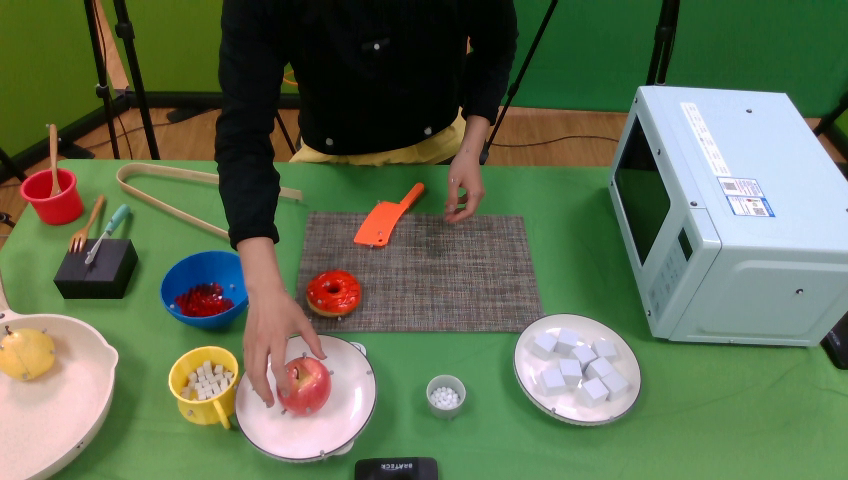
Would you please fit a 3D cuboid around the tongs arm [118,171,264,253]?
[{"bbox_3d":[-0.473,-0.057,1.210,0.386,0.028,0.028,23,55,18],"label":"tongs arm"}]

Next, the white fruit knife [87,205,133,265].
[{"bbox_3d":[-0.584,-0.013,1.129,0.016,0.027,0.206,0,31,-5],"label":"white fruit knife"}]

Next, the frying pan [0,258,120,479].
[{"bbox_3d":[-0.647,0.164,0.936,0.307,0.103,0.485,-19,58,-22],"label":"frying pan"}]

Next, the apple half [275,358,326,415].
[{"bbox_3d":[-0.186,0.221,0.883,0.080,0.075,0.053,38,58,25],"label":"apple half"}]

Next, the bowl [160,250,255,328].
[{"bbox_3d":[-0.362,0.098,1.039,0.151,0.077,0.150,2,45,-2],"label":"bowl"}]

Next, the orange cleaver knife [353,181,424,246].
[{"bbox_3d":[-0.070,-0.059,1.245,0.077,0.012,0.210,18,50,21],"label":"orange cleaver knife"}]

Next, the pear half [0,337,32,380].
[{"bbox_3d":[-0.631,0.184,0.921,0.070,0.088,0.031,29,49,19],"label":"pear half"}]

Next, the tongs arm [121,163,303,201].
[{"bbox_3d":[-0.444,-0.114,1.266,0.384,0.026,0.050,12,49,8],"label":"tongs arm"}]

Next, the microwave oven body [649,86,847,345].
[{"bbox_3d":[0.567,-0.053,1.118,0.326,0.261,0.439,2,45,-1],"label":"microwave oven body"}]

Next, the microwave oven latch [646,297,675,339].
[{"bbox_3d":[0.412,0.134,1.061,0.030,0.029,0.078,4,45,1],"label":"microwave oven latch"}]

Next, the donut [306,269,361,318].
[{"bbox_3d":[-0.159,0.094,1.074,0.099,0.048,0.098,3,46,-3],"label":"donut"}]

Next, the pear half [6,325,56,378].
[{"bbox_3d":[-0.608,0.158,0.935,0.076,0.110,0.056,31,51,20],"label":"pear half"}]

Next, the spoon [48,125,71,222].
[{"bbox_3d":[-0.718,-0.132,1.188,0.042,0.021,0.193,-3,90,-7],"label":"spoon"}]

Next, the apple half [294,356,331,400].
[{"bbox_3d":[-0.159,0.201,0.902,0.081,0.082,0.033,36,58,27],"label":"apple half"}]

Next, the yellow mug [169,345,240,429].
[{"bbox_3d":[-0.323,0.231,0.922,0.100,0.064,0.130,-24,53,-26],"label":"yellow mug"}]

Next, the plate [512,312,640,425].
[{"bbox_3d":[0.246,0.213,0.999,0.208,0.039,0.206,2,46,-2],"label":"plate"}]

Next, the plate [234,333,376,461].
[{"bbox_3d":[-0.174,0.235,0.907,0.209,0.038,0.208,2,46,-2],"label":"plate"}]

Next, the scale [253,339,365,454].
[{"bbox_3d":[-0.175,0.236,0.951,0.149,0.032,0.199,4,46,0],"label":"scale"}]

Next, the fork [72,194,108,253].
[{"bbox_3d":[-0.634,-0.036,1.158,0.028,0.019,0.206,-7,32,-9],"label":"fork"}]

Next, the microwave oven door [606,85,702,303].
[{"bbox_3d":[0.423,-0.094,1.140,0.039,0.245,0.353,2,46,-1],"label":"microwave oven door"}]

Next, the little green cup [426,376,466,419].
[{"bbox_3d":[0.033,0.248,0.950,0.061,0.039,0.061,2,46,-2],"label":"little green cup"}]
